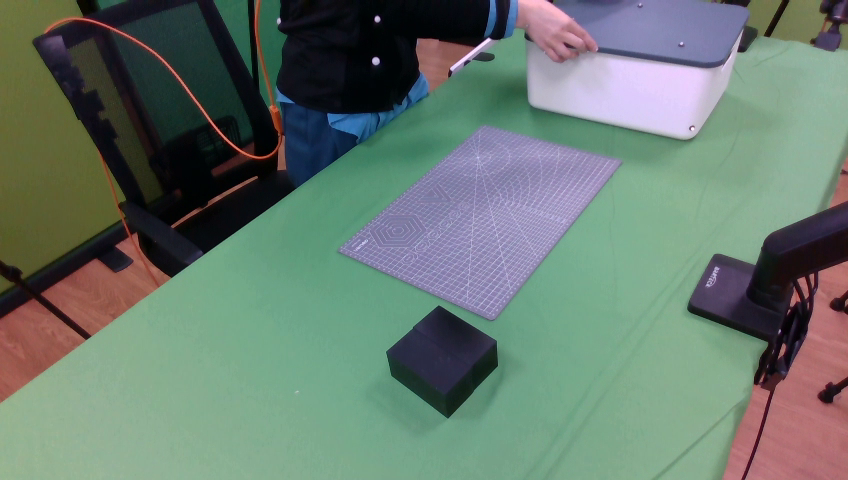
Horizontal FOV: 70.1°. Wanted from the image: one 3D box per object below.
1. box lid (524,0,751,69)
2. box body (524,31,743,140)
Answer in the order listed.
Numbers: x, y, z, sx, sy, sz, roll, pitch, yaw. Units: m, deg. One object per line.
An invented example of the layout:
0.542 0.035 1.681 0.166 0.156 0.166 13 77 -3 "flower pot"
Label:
0.406 -0.410 1.153 0.369 0.015 0.264 19 48 27 "box lid"
0.412 -0.354 1.212 0.361 0.161 0.254 20 48 29 "box body"
